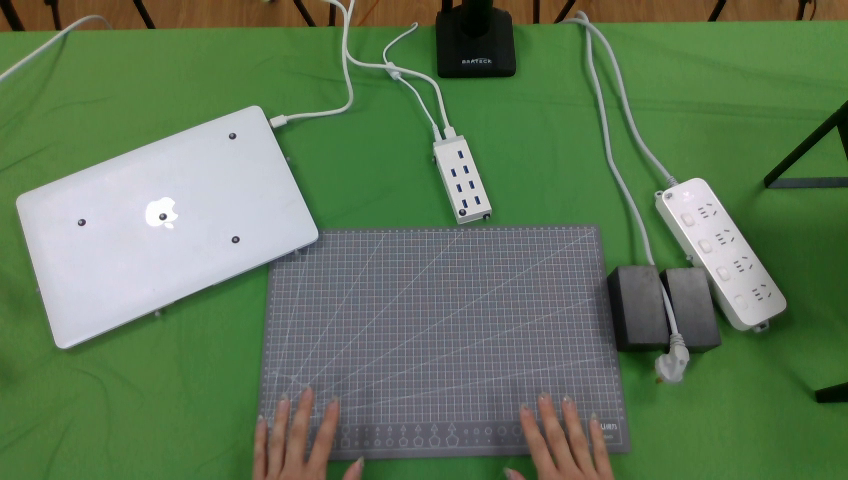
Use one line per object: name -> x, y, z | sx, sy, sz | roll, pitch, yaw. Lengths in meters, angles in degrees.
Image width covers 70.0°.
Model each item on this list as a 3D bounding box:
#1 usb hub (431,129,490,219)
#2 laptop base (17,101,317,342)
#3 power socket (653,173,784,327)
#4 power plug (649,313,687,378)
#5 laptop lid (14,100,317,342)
usb hub -> 0.049, -0.094, 0.849 | 0.049, 0.025, 0.124 | -16, 70, -6
laptop base -> -0.349, -0.035, 0.825 | 0.354, 0.023, 0.234 | -24, 74, -9
power socket -> 0.390, 0.009, 0.810 | 0.072, 0.033, 0.225 | -22, 70, -10
power plug -> 0.298, 0.133, 0.738 | 0.035, 0.053, 0.072 | 29, 51, -7
laptop lid -> -0.348, -0.038, 0.813 | 0.357, 0.013, 0.240 | -23, 73, -9
